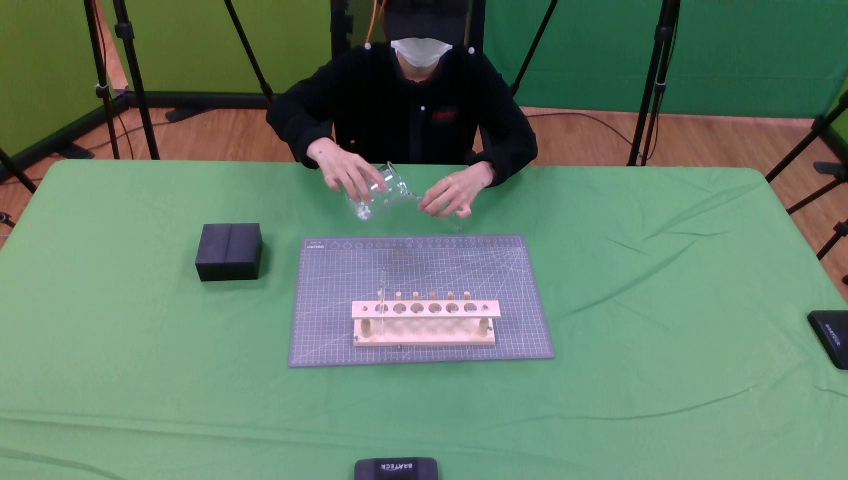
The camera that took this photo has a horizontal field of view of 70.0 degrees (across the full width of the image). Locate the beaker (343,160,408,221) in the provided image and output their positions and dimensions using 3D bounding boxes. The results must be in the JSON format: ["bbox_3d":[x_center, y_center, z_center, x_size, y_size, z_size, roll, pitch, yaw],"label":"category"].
[{"bbox_3d":[-0.087,-0.085,1.099,0.100,0.084,0.073,-30,39,8],"label":"beaker"}]

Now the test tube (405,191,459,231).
[{"bbox_3d":[0.018,-0.054,1.165,0.017,0.151,0.017,-25,50,34],"label":"test tube"}]

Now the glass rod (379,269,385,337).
[{"bbox_3d":[-0.066,0.104,0.953,0.008,0.200,0.008,3,53,-3],"label":"glass rod"}]

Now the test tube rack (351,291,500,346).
[{"bbox_3d":[0.000,0.129,1.026,0.242,0.085,0.066,0,46,-4],"label":"test tube rack"}]
